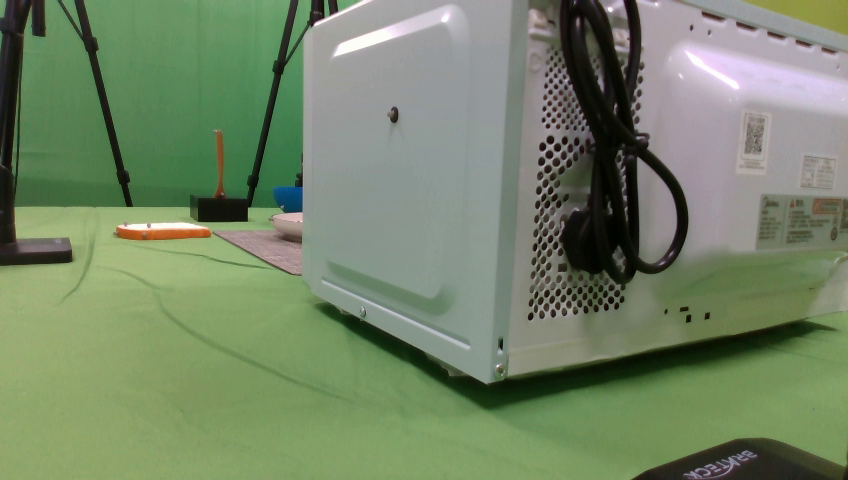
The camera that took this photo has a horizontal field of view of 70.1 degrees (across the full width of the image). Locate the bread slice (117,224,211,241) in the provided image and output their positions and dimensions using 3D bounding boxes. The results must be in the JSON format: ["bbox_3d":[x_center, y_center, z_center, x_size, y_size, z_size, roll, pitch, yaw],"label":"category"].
[{"bbox_3d":[-0.443,-0.015,1.022,0.132,0.019,0.104,-3,8,-45],"label":"bread slice"}]

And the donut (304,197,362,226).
[{"bbox_3d":[-0.159,-0.050,1.054,0.099,0.048,0.099,2,8,0],"label":"donut"}]

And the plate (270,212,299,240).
[{"bbox_3d":[-0.162,-0.023,1.058,0.208,0.039,0.207,2,7,0],"label":"plate"}]

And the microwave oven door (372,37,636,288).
[{"bbox_3d":[0.110,-0.080,0.686,0.358,0.243,0.039,-2,9,-33],"label":"microwave oven door"}]

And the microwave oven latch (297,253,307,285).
[{"bbox_3d":[-0.081,0.027,0.582,0.079,0.029,0.030,-1,7,-32],"label":"microwave oven latch"}]

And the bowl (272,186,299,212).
[{"bbox_3d":[-0.254,-0.075,1.318,0.151,0.077,0.151,2,7,0],"label":"bowl"}]

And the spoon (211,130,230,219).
[{"bbox_3d":[-0.436,-0.138,1.296,0.042,0.193,0.021,-3,23,-27],"label":"spoon"}]

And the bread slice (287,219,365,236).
[{"bbox_3d":[-0.170,-0.022,1.056,0.134,0.018,0.107,1,7,-6],"label":"bread slice"}]

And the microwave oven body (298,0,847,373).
[{"bbox_3d":[0.151,-0.055,0.542,0.444,0.260,0.324,-2,7,-33],"label":"microwave oven body"}]
